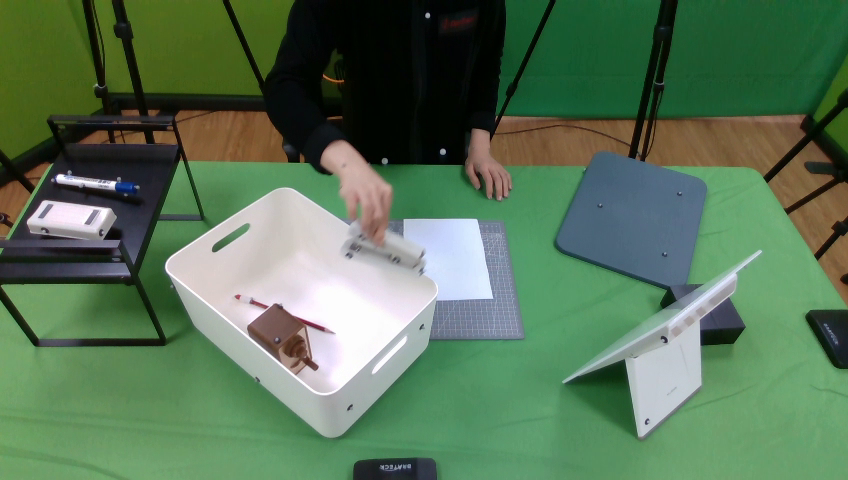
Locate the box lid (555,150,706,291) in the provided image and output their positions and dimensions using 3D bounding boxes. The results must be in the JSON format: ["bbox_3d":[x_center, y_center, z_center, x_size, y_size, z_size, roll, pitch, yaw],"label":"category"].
[{"bbox_3d":[0.451,-0.059,1.297,0.263,0.015,0.370,20,49,14],"label":"box lid"}]

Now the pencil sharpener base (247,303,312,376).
[{"bbox_3d":[-0.224,0.165,0.955,0.076,0.107,0.061,32,54,23],"label":"pencil sharpener base"}]

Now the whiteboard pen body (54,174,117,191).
[{"bbox_3d":[-0.541,-0.093,0.993,0.140,0.017,0.017,7,46,9],"label":"whiteboard pen body"}]

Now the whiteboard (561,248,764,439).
[{"bbox_3d":[0.386,0.176,0.905,0.217,0.306,0.143,-26,72,-27],"label":"whiteboard"}]

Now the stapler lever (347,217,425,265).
[{"bbox_3d":[-0.055,0.000,0.886,0.118,0.040,0.026,17,43,5],"label":"stapler lever"}]

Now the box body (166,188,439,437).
[{"bbox_3d":[-0.190,0.108,0.980,0.362,0.161,0.254,32,52,24],"label":"box body"}]

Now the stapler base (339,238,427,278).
[{"bbox_3d":[-0.061,0.019,0.903,0.130,0.024,0.041,17,43,6],"label":"stapler base"}]

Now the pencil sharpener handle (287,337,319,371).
[{"bbox_3d":[-0.182,0.178,0.928,0.030,0.068,0.036,32,68,23],"label":"pencil sharpener handle"}]

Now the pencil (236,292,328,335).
[{"bbox_3d":[-0.244,0.131,1.054,0.194,0.012,0.012,22,49,11],"label":"pencil"}]

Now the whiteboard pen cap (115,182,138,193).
[{"bbox_3d":[-0.483,-0.086,0.984,0.033,0.018,0.018,7,46,10],"label":"whiteboard pen cap"}]

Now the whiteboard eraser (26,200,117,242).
[{"bbox_3d":[-0.532,-0.026,0.919,0.113,0.042,0.055,7,45,3],"label":"whiteboard eraser"}]
